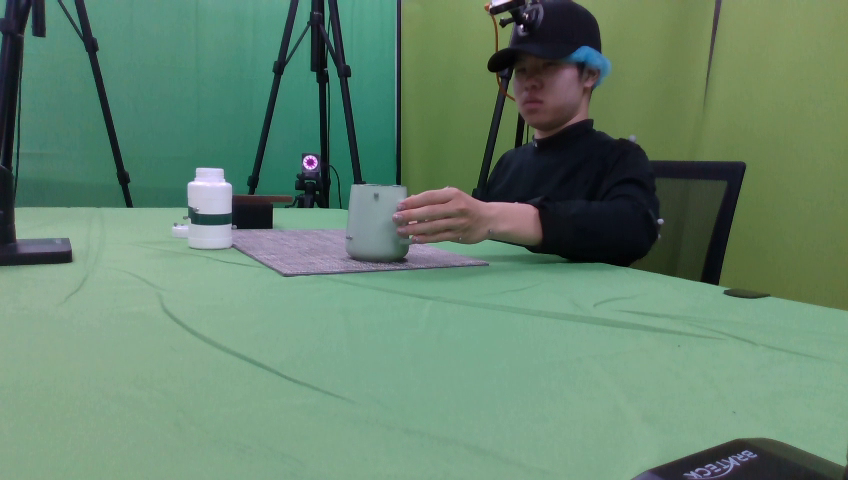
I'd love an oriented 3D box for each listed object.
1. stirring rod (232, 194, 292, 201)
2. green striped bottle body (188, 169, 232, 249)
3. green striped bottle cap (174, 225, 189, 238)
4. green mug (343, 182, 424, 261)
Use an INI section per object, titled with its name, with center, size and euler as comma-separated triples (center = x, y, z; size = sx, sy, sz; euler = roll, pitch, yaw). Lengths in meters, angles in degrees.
[stirring rod]
center = -0.353, -0.086, 1.216
size = 0.177, 0.014, 0.006
euler = -2, 12, -27
[green striped bottle body]
center = -0.324, -0.049, 0.919
size = 0.063, 0.119, 0.063
euler = 2, 8, 0
[green striped bottle cap]
center = -0.404, -0.015, 1.036
size = 0.044, 0.020, 0.044
euler = -2, 8, 1
[green mug]
center = -0.053, -0.026, 0.849
size = 0.125, 0.105, 0.093
euler = 7, 9, 33
